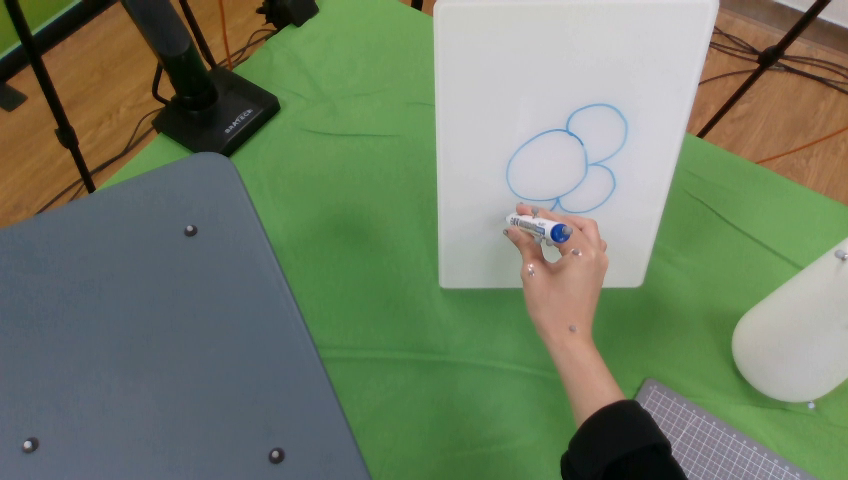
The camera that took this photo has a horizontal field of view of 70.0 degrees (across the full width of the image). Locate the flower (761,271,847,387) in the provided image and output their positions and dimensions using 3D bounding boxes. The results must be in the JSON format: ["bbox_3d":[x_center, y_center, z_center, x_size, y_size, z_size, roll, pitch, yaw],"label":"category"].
[{"bbox_3d":[0.340,0.006,0.456,0.044,0.364,0.038,25,46,19],"label":"flower"}]

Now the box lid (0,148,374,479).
[{"bbox_3d":[-0.217,0.099,0.446,0.263,0.015,0.368,-24,62,-13],"label":"box lid"}]

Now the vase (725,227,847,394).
[{"bbox_3d":[0.340,0.061,0.521,0.098,0.201,0.097,-1,58,2],"label":"vase"}]

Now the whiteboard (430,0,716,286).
[{"bbox_3d":[0.118,-0.114,0.600,0.217,0.308,0.142,0,41,2],"label":"whiteboard"}]

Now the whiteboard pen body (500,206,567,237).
[{"bbox_3d":[0.088,-0.018,0.517,0.017,0.140,0.017,-2,98,-10],"label":"whiteboard pen body"}]

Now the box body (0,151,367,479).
[{"bbox_3d":[-0.214,0.138,0.509,0.254,0.162,0.360,-25,63,-12],"label":"box body"}]
